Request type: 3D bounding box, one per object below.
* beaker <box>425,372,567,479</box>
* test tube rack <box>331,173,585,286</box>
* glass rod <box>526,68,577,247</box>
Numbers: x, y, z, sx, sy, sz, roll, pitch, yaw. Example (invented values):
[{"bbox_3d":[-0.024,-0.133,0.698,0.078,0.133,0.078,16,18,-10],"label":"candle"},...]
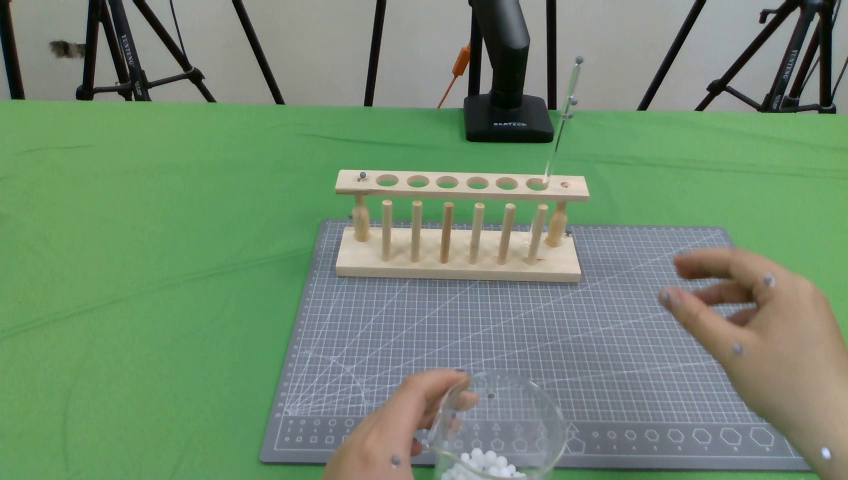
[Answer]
[{"bbox_3d":[0.037,0.144,0.375,0.084,0.101,0.073,-9,41,-18],"label":"beaker"},{"bbox_3d":[0.032,-0.010,0.601,0.242,0.086,0.066,2,39,0],"label":"test tube rack"},{"bbox_3d":[0.117,-0.067,0.568,0.008,0.201,0.008,3,41,-3],"label":"glass rod"}]
